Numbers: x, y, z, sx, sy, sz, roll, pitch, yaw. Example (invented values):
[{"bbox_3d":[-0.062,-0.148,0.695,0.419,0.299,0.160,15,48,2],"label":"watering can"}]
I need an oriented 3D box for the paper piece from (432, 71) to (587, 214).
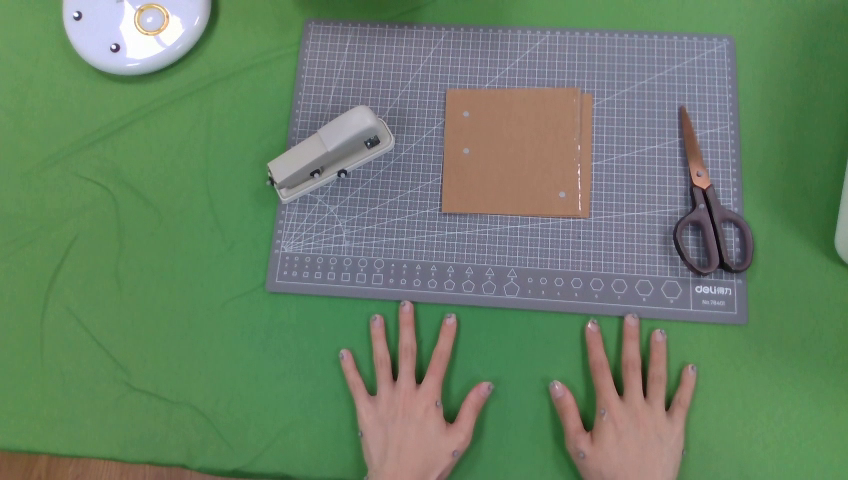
[{"bbox_3d":[0.087,-0.101,0.613,0.135,0.004,0.135,13,79,13],"label":"paper piece"}]

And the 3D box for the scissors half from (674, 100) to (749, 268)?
[{"bbox_3d":[0.270,-0.058,0.581,0.040,0.013,0.174,-14,75,-4],"label":"scissors half"}]

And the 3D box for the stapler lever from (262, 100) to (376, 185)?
[{"bbox_3d":[-0.101,-0.094,0.578,0.118,0.040,0.026,-28,72,-3],"label":"stapler lever"}]

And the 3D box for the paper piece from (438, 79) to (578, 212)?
[{"bbox_3d":[0.083,-0.095,0.601,0.136,0.009,0.137,1,78,7],"label":"paper piece"}]

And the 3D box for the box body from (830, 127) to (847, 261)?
[{"bbox_3d":[0.528,-0.127,0.510,0.254,0.161,0.362,17,78,7],"label":"box body"}]

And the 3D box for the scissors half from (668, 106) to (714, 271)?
[{"bbox_3d":[0.250,-0.055,0.580,0.040,0.013,0.174,4,73,-5],"label":"scissors half"}]

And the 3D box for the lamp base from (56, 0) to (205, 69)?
[{"bbox_3d":[-0.330,-0.284,0.583,0.178,0.181,0.160,37,80,14],"label":"lamp base"}]

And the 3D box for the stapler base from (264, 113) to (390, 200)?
[{"bbox_3d":[-0.097,-0.089,0.602,0.130,0.024,0.041,-29,73,-3],"label":"stapler base"}]
